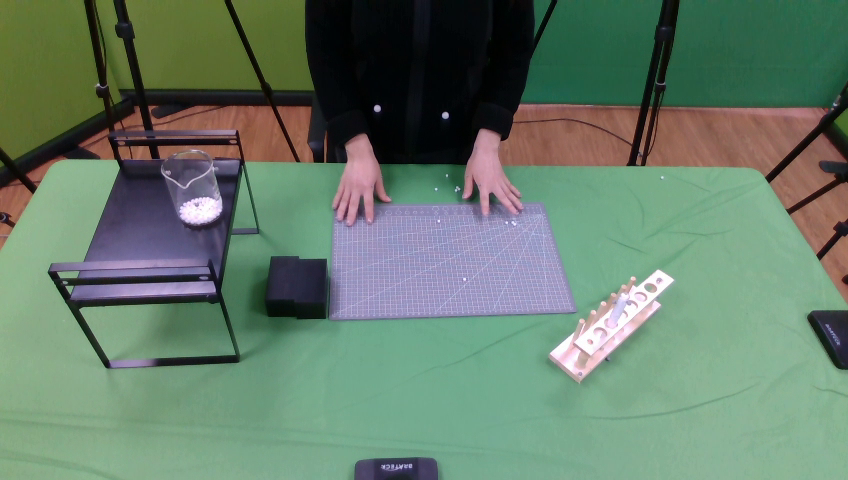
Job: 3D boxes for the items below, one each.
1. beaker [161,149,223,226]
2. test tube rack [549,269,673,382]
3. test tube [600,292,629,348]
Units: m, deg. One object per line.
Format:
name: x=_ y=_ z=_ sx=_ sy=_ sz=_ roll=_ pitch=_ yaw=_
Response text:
beaker: x=-0.357 y=-0.077 z=0.942 sx=0.074 sy=0.101 sz=0.083 roll=-4 pitch=47 yaw=-8
test tube rack: x=0.325 y=0.134 z=1.047 sx=0.242 sy=0.085 sz=0.066 roll=-32 pitch=56 yaw=-30
test tube: x=0.304 y=0.132 z=0.980 sx=0.017 sy=0.151 sz=0.017 roll=1 pitch=50 yaw=-1
